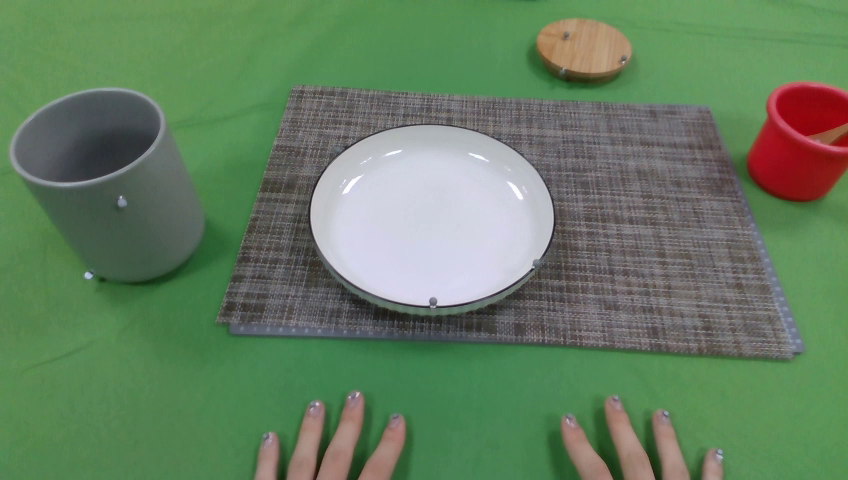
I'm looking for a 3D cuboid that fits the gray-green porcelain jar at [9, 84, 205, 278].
[{"bbox_3d":[-0.237,-0.039,0.476,0.106,0.127,0.105,1,52,-1],"label":"gray-green porcelain jar"}]

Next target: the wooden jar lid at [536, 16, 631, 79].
[{"bbox_3d":[0.183,-0.221,0.699,0.108,0.021,0.107,1,53,-1],"label":"wooden jar lid"}]

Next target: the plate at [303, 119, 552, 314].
[{"bbox_3d":[0.003,-0.021,0.521,0.208,0.039,0.205,1,52,-1],"label":"plate"}]

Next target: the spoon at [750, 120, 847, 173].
[{"bbox_3d":[0.394,-0.107,0.537,0.193,0.022,0.041,-27,41,35],"label":"spoon"}]
